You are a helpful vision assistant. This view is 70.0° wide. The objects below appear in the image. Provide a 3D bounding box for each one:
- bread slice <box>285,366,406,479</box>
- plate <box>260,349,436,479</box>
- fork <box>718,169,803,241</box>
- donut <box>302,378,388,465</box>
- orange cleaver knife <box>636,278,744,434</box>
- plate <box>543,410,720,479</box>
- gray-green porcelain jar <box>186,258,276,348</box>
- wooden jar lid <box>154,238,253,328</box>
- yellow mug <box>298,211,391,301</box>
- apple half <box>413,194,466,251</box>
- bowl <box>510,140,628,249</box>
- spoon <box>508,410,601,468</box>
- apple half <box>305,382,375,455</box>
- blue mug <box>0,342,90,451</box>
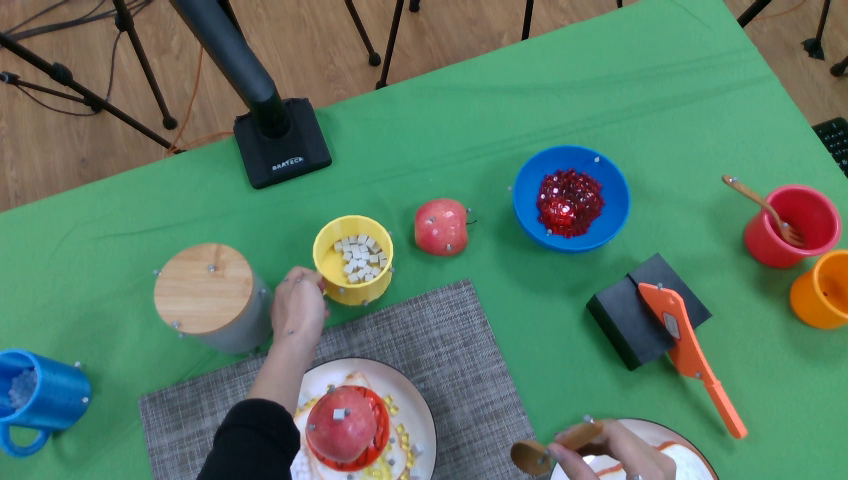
[{"bbox_3d":[-0.085,0.234,0.727,0.107,0.018,0.133,-36,72,-11],"label":"bread slice"},{"bbox_3d":[-0.089,0.237,0.725,0.208,0.039,0.206,0,69,1],"label":"plate"},{"bbox_3d":[0.429,-0.043,0.766,0.209,0.018,0.028,26,64,-34],"label":"fork"},{"bbox_3d":[-0.091,0.211,0.704,0.099,0.048,0.098,0,72,2],"label":"donut"},{"bbox_3d":[0.319,0.138,0.735,0.012,0.077,0.211,-29,93,-17],"label":"orange cleaver knife"},{"bbox_3d":[0.237,0.304,0.697,0.209,0.038,0.207,0,69,1],"label":"plate"},{"bbox_3d":[-0.245,0.073,0.746,0.106,0.127,0.105,0,68,1],"label":"gray-green porcelain jar"},{"bbox_3d":[-0.247,0.050,0.686,0.108,0.021,0.107,0,66,0],"label":"wooden jar lid"},{"bbox_3d":[-0.104,0.029,0.770,0.131,0.064,0.099,-37,74,-19],"label":"yellow mug"},{"bbox_3d":[0.020,-0.029,0.820,0.074,0.054,0.080,1,69,4],"label":"apple half"},{"bbox_3d":[0.187,-0.049,0.810,0.151,0.077,0.150,0,70,1],"label":"bowl"},{"bbox_3d":[0.113,0.177,0.532,0.041,0.195,0.021,36,65,9],"label":"spoon"},{"bbox_3d":[-0.095,0.198,0.671,0.081,0.033,0.081,-2,70,7],"label":"apple half"},{"bbox_3d":[-0.467,0.189,0.717,0.082,0.106,0.115,0,69,1],"label":"blue mug"}]
